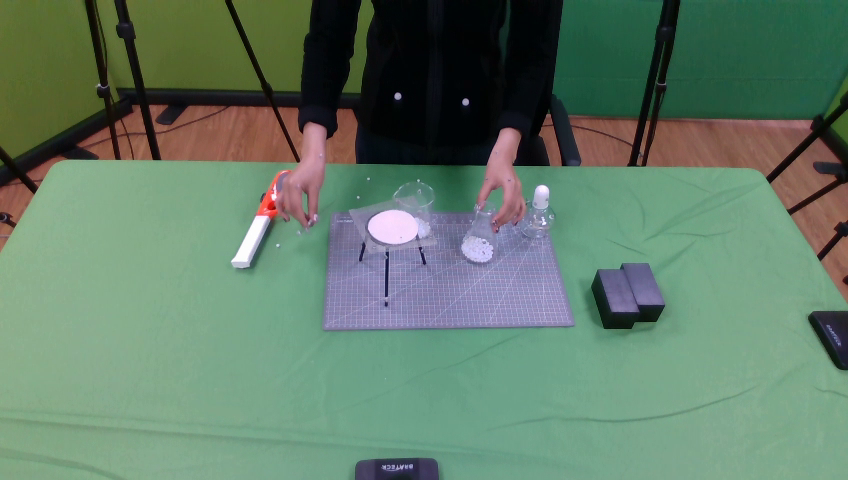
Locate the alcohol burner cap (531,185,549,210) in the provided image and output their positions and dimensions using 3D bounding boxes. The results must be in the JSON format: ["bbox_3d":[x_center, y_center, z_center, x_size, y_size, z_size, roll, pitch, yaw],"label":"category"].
[{"bbox_3d":[0.228,-0.085,1.183,0.034,0.048,0.033,-1,48,2],"label":"alcohol burner cap"}]

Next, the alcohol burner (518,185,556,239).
[{"bbox_3d":[0.227,-0.061,1.209,0.078,0.120,0.077,1,44,-1],"label":"alcohol burner"}]

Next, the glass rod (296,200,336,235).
[{"bbox_3d":[-0.202,-0.045,1.154,0.008,0.008,0.199,12,23,8],"label":"glass rod"}]

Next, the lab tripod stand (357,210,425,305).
[{"bbox_3d":[-0.060,0.020,1.094,0.148,0.132,0.147,3,44,-2],"label":"lab tripod stand"}]

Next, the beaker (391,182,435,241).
[{"bbox_3d":[-0.023,-0.053,1.192,0.084,0.101,0.073,-2,46,-5],"label":"beaker"}]

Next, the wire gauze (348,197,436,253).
[{"bbox_3d":[-0.056,-0.026,1.045,0.125,0.011,0.120,-11,46,-17],"label":"wire gauze"}]

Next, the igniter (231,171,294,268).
[{"bbox_3d":[-0.321,-0.051,1.220,0.057,0.025,0.275,1,45,11],"label":"igniter"}]

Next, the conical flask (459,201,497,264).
[{"bbox_3d":[0.108,-0.018,1.153,0.075,0.122,0.075,2,46,-2],"label":"conical flask"}]
